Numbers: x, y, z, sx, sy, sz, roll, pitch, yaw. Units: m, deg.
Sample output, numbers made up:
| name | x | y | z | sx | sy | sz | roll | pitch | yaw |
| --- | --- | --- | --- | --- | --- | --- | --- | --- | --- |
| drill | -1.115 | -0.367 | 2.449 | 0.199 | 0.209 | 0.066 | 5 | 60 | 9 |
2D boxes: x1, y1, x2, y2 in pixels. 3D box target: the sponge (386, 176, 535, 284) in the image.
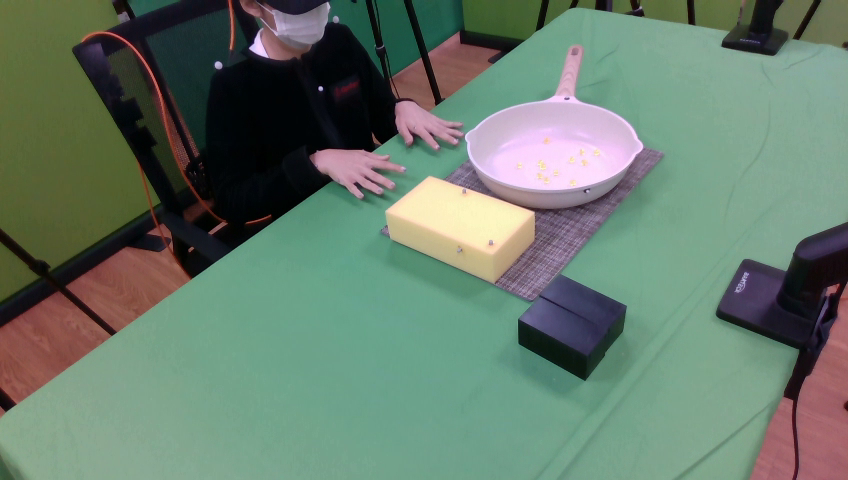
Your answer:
| name | x | y | z | sx | sy | sz | roll | pitch | yaw |
| --- | --- | --- | --- | --- | --- | --- | --- | --- | --- |
| sponge | 0.057 | -0.022 | 0.957 | 0.205 | 0.061 | 0.118 | 22 | 49 | 31 |

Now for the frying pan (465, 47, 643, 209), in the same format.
| name | x | y | z | sx | sy | sz | roll | pitch | yaw |
| --- | --- | --- | --- | --- | --- | --- | --- | --- | --- |
| frying pan | 0.255 | -0.228 | 1.135 | 0.305 | 0.103 | 0.487 | 9 | 51 | 17 |
